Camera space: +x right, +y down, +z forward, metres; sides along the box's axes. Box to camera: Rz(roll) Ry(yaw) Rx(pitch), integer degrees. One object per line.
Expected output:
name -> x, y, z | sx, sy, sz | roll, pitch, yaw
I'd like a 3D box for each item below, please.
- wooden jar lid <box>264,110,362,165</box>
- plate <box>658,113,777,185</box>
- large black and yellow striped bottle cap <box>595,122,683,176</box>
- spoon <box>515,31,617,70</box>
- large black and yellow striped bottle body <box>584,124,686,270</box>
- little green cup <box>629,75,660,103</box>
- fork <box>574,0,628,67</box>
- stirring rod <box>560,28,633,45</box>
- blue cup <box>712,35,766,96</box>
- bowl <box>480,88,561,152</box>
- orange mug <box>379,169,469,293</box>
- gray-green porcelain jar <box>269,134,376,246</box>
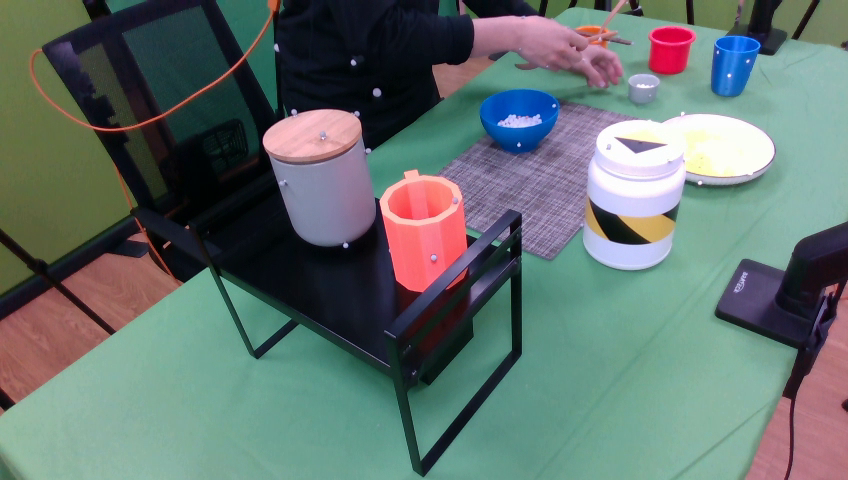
wooden jar lid -> -0.122, -0.112, 0.673 | 0.108, 0.021, 0.108 | -4, 37, 4
plate -> 0.506, -0.158, 1.073 | 0.209, 0.038, 0.208 | -5, 40, 4
large black and yellow striped bottle cap -> 0.293, -0.126, 0.826 | 0.115, 0.019, 0.114 | -3, 40, 3
spoon -> 0.257, -0.348, 1.108 | 0.192, 0.021, 0.042 | -15, -2, 33
large black and yellow striped bottle body -> 0.304, -0.063, 0.880 | 0.131, 0.185, 0.130 | -5, 41, 5
little green cup -> 0.457, -0.314, 1.260 | 0.061, 0.039, 0.061 | -4, 40, 4
fork -> 0.413, -0.481, 1.377 | 0.207, 0.019, 0.028 | -56, 43, 12
stirring rod -> 0.381, -0.452, 1.344 | 0.174, 0.006, 0.014 | 26, 49, 33
blue cup -> 0.627, -0.350, 1.227 | 0.092, 0.100, 0.092 | -4, 39, 4
bowl -> 0.185, -0.222, 1.160 | 0.151, 0.077, 0.150 | -4, 40, 4
orange mug -> -0.002, -0.019, 0.665 | 0.083, 0.101, 0.125 | -12, 45, -4
gray-green porcelain jar -> -0.115, -0.065, 0.715 | 0.106, 0.127, 0.105 | -4, 40, 4
